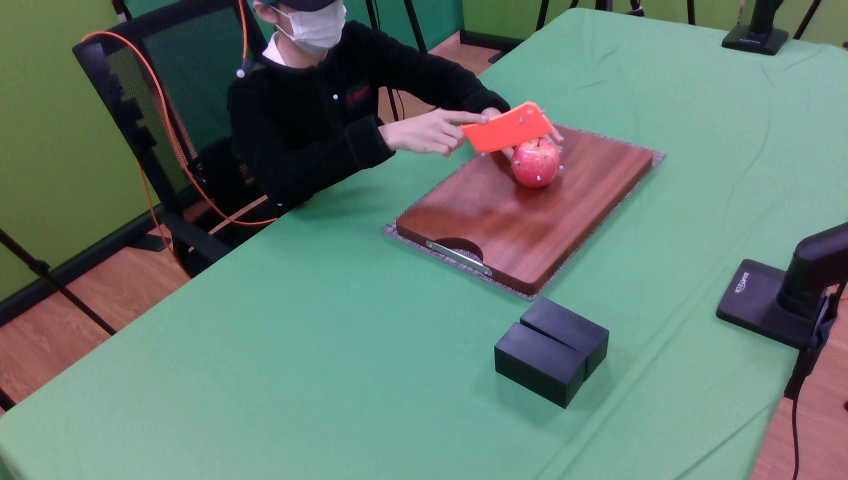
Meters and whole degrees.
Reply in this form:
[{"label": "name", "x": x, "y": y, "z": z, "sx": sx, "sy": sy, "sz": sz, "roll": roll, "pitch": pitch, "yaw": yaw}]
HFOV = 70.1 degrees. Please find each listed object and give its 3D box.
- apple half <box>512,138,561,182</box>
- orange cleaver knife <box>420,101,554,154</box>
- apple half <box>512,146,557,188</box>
[{"label": "apple half", "x": 0.194, "y": -0.137, "z": 1.023, "sx": 0.080, "sy": 0.075, "sz": 0.053, "roll": 9, "pitch": 39, "yaw": 25}, {"label": "orange cleaver knife", "x": 0.098, "y": -0.170, "z": 0.967, "sx": 0.210, "sy": 0.078, "sz": 0.012, "roll": -10, "pitch": 45, "yaw": 22}, {"label": "apple half", "x": 0.178, "y": -0.113, "z": 0.996, "sx": 0.081, "sy": 0.081, "sz": 0.033, "roll": 12, "pitch": 42, "yaw": 22}]
